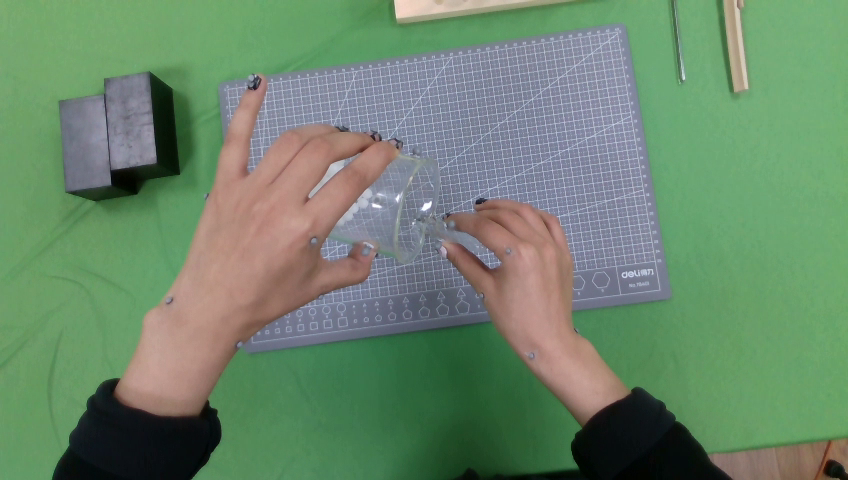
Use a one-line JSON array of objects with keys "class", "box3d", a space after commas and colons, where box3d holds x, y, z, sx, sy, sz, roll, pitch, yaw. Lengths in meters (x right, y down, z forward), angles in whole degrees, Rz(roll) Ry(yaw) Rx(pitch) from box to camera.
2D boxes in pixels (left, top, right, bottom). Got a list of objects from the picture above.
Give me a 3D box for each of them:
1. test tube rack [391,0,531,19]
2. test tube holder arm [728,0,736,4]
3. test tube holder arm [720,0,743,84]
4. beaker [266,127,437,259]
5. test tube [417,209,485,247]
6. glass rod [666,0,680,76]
[{"class": "test tube rack", "box3d": [0.080, -0.296, 0.629, 0.242, 0.085, 0.066, -7, 84, 3]}, {"class": "test tube holder arm", "box3d": [0.327, -0.297, 0.648, 0.010, 0.015, 0.087, 1, 84, -26]}, {"class": "test tube holder arm", "box3d": [0.323, -0.253, 0.641, 0.013, 0.015, 0.178, 1, 84, -26]}, {"class": "beaker", "box3d": [-0.049, -0.035, 0.422, 0.100, 0.084, 0.074, 16, 82, 16]}, {"class": "test tube", "box3d": [0.027, -0.008, 0.516, 0.017, 0.151, 0.017, -2, 84, 20]}, {"class": "glass rod", "box3d": [0.263, -0.274, 0.654, 0.008, 0.008, 0.199, -3, 84, 3]}]
